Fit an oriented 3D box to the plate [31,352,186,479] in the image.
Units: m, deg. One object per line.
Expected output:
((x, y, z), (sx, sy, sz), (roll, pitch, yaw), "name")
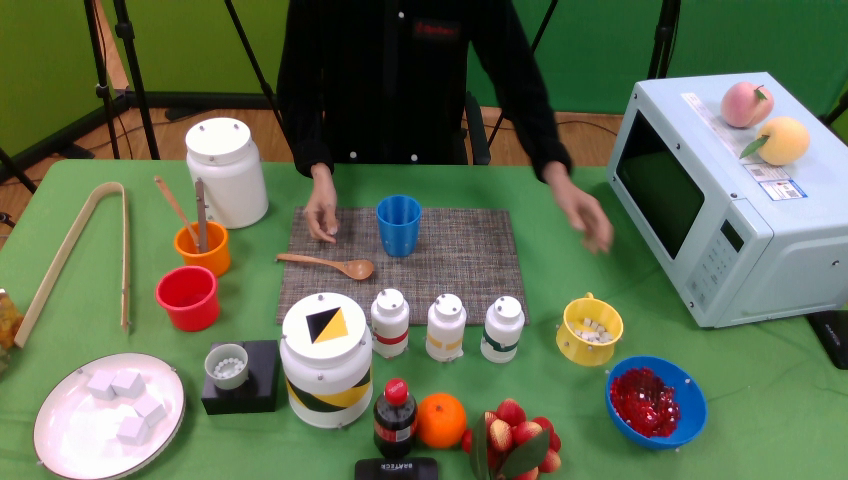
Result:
((-0.459, 0.262, 0.898), (0.209, 0.038, 0.208), (2, 46, -2), "plate")

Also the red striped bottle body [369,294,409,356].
((-0.059, 0.134, 0.997), (0.063, 0.120, 0.062), (5, 48, -5), "red striped bottle body")

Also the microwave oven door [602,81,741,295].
((0.457, -0.108, 1.162), (0.039, 0.245, 0.353), (-7, 47, -10), "microwave oven door")

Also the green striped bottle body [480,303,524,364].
((0.129, 0.147, 1.000), (0.063, 0.120, 0.063), (2, 46, -2), "green striped bottle body")

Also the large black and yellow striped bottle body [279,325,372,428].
((-0.143, 0.181, 0.900), (0.131, 0.185, 0.130), (2, 46, -2), "large black and yellow striped bottle body")

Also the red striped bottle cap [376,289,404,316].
((-0.054, 0.098, 0.958), (0.044, 0.018, 0.044), (0, 48, 1), "red striped bottle cap")

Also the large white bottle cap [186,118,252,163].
((-0.377, -0.185, 1.115), (0.115, 0.018, 0.114), (2, 47, -2), "large white bottle cap")

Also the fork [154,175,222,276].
((-0.431, -0.026, 1.101), (0.028, 0.018, 0.207), (-33, 100, -25), "fork")

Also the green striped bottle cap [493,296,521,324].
((0.133, 0.111, 0.962), (0.044, 0.020, 0.044), (2, 47, -2), "green striped bottle cap")

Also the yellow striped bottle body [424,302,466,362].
((0.035, 0.143, 0.995), (0.063, 0.121, 0.062), (3, 46, -3), "yellow striped bottle body")

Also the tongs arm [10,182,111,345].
((-0.658, 0.026, 1.109), (0.028, 0.028, 0.385), (-2, 45, 1), "tongs arm")

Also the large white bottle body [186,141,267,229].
((-0.382, -0.127, 1.175), (0.131, 0.185, 0.130), (2, 47, -2), "large white bottle body")

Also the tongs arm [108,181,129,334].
((-0.571, 0.019, 1.123), (0.051, 0.026, 0.382), (-10, 47, -12), "tongs arm")

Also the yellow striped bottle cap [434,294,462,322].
((0.038, 0.107, 0.958), (0.044, 0.019, 0.044), (2, 45, -2), "yellow striped bottle cap")

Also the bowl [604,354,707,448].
((0.346, 0.261, 0.937), (0.151, 0.077, 0.150), (2, 46, -2), "bowl")

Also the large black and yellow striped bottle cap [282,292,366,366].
((-0.138, 0.121, 0.841), (0.115, 0.019, 0.114), (3, 47, -3), "large black and yellow striped bottle cap")

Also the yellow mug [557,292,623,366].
((0.286, 0.145, 1.051), (0.100, 0.064, 0.130), (7, 45, 4), "yellow mug")

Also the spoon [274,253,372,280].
((-0.191, 0.043, 1.136), (0.193, 0.022, 0.041), (10, 69, 6), "spoon")

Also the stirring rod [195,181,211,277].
((-0.403, -0.020, 1.104), (0.014, 0.006, 0.176), (-6, 89, -9), "stirring rod")

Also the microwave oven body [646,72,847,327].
((0.607, -0.089, 1.164), (0.326, 0.261, 0.438), (-7, 46, -10), "microwave oven body")

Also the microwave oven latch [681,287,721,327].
((0.494, 0.119, 1.087), (0.030, 0.029, 0.078), (-5, 46, -9), "microwave oven latch")

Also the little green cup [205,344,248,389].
((-0.294, 0.191, 0.909), (0.061, 0.039, 0.061), (2, 47, -2), "little green cup")

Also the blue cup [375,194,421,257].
((-0.051, -0.022, 1.155), (0.093, 0.101, 0.092), (2, 46, -2), "blue cup")
